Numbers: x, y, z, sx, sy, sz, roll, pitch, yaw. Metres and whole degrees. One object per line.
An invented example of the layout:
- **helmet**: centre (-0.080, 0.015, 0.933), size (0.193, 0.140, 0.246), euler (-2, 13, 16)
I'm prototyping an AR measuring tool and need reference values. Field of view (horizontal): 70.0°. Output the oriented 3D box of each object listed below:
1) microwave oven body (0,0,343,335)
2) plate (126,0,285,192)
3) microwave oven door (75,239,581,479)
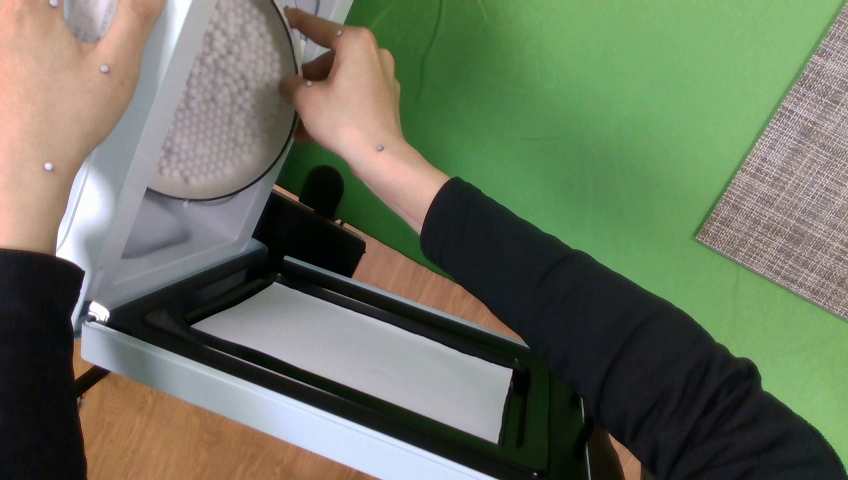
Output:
- **microwave oven body**: centre (-0.231, -0.211, 0.468), size (0.325, 0.260, 0.443), euler (29, 106, 4)
- **plate**: centre (-0.209, -0.146, 0.506), size (0.208, 0.038, 0.210), euler (2, 104, 11)
- **microwave oven door**: centre (-0.043, 0.095, 0.492), size (0.355, 0.243, 0.039), euler (19, 104, 7)
